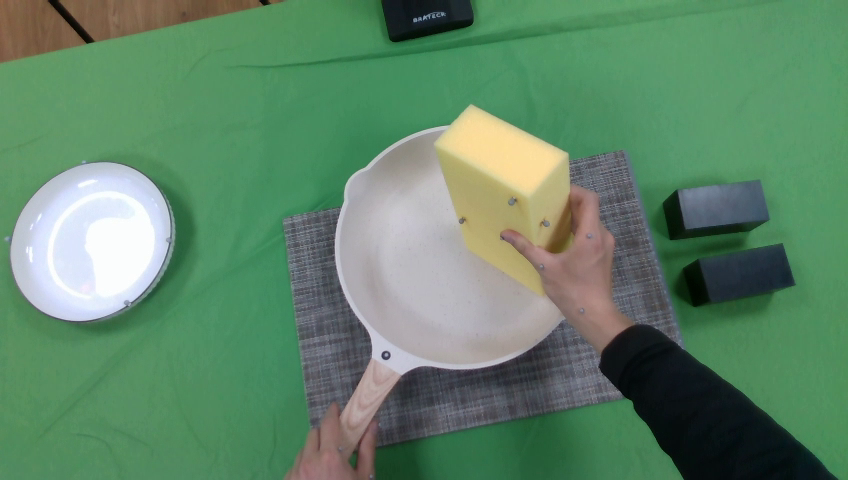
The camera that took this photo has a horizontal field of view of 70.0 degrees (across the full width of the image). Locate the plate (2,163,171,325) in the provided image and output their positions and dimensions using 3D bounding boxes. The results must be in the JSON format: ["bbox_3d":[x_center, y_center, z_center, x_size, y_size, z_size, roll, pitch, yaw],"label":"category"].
[{"bbox_3d":[-0.419,0.006,0.767,0.207,0.039,0.206,0,76,2],"label":"plate"}]

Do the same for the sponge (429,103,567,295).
[{"bbox_3d":[0.088,-0.036,0.652,0.117,0.209,0.061,33,72,29],"label":"sponge"}]

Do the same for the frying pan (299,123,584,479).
[{"bbox_3d":[-0.015,0.089,0.692,0.306,0.103,0.486,29,71,10],"label":"frying pan"}]
